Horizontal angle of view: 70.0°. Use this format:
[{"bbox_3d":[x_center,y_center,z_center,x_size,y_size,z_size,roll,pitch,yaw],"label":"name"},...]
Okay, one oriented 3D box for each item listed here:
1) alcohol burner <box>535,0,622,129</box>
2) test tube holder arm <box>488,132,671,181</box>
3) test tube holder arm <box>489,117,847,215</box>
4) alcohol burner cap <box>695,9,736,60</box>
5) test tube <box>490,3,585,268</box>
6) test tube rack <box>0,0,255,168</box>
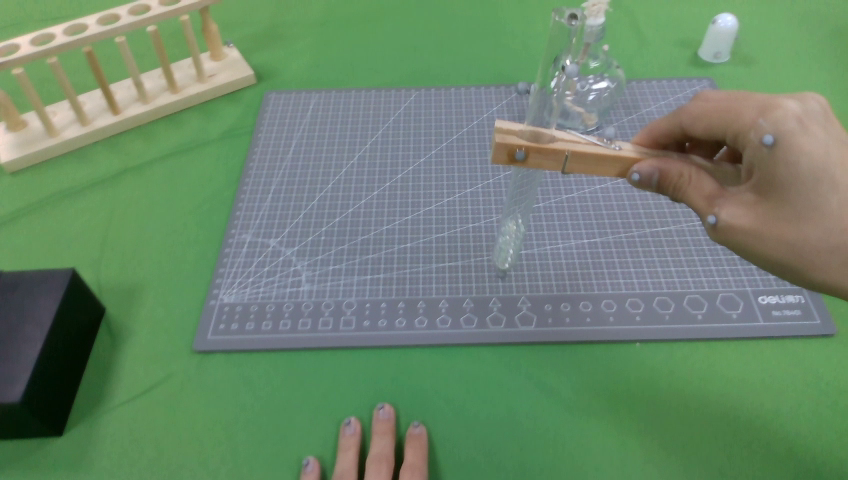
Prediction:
[{"bbox_3d":[0.138,-0.159,0.533,0.078,0.120,0.077,-1,49,1],"label":"alcohol burner"},{"bbox_3d":[0.076,-0.041,0.297,0.088,0.015,0.010,6,44,-3],"label":"test tube holder arm"},{"bbox_3d":[0.121,-0.037,0.300,0.178,0.015,0.013,11,45,3],"label":"test tube holder arm"},{"bbox_3d":[0.301,-0.212,0.620,0.034,0.048,0.033,-2,50,3],"label":"alcohol burner cap"},{"bbox_3d":[0.053,-0.042,0.305,0.017,0.151,0.017,5,41,-4],"label":"test tube"},{"bbox_3d":[-0.296,-0.163,0.576,0.242,0.086,0.066,-26,54,-18],"label":"test tube rack"}]
